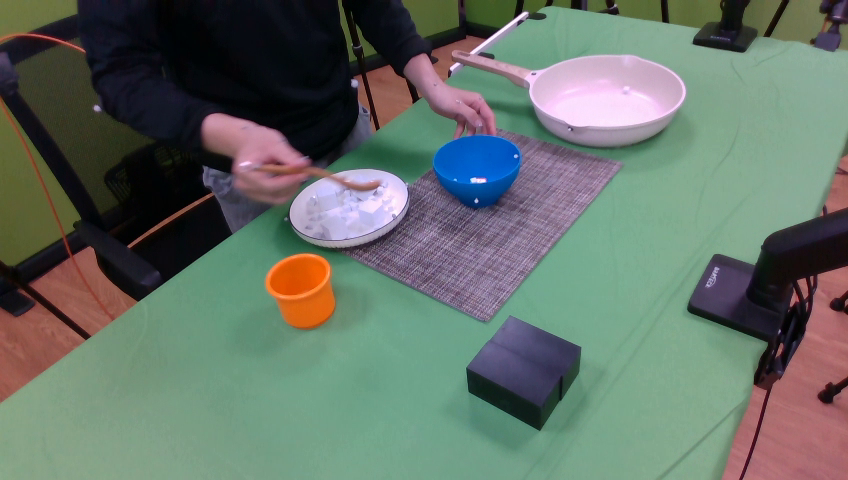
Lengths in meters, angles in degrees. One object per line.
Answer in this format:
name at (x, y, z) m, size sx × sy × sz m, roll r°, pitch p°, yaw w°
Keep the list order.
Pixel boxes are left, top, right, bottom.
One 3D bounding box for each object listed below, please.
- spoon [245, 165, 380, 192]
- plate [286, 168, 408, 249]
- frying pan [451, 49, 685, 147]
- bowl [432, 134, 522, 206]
spoon at (-0.133, -0.079, 0.752) m, size 0.041 × 0.021 × 0.195 m, roll 6°, pitch -1°, yaw 45°
plate at (-0.127, -0.050, 1.028) m, size 0.207 × 0.039 × 0.206 m, roll -5°, pitch 39°, yaw 5°
frying pan at (0.269, -0.316, 1.233) m, size 0.485 × 0.103 × 0.307 m, roll 26°, pitch 49°, yaw 21°
bowl at (0.092, -0.110, 1.034) m, size 0.151 × 0.077 × 0.150 m, roll -4°, pitch 40°, yaw 4°
